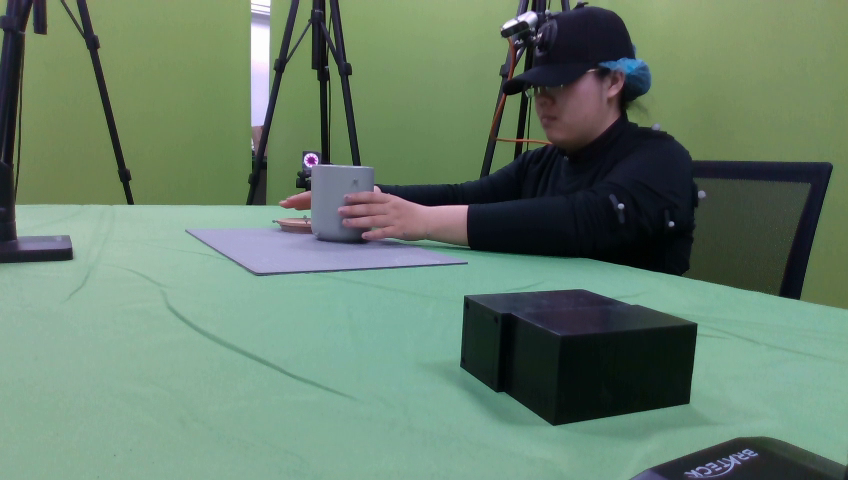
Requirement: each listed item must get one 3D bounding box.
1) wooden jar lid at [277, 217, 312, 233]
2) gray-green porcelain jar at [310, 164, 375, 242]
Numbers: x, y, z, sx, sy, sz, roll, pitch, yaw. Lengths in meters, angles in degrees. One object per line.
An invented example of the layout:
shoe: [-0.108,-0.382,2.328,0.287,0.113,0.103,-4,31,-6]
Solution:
wooden jar lid: [-0.221,-0.028,1.138,0.108,0.020,0.108,2,9,0]
gray-green porcelain jar: [-0.139,-0.064,1.025,0.106,0.126,0.106,3,8,0]
